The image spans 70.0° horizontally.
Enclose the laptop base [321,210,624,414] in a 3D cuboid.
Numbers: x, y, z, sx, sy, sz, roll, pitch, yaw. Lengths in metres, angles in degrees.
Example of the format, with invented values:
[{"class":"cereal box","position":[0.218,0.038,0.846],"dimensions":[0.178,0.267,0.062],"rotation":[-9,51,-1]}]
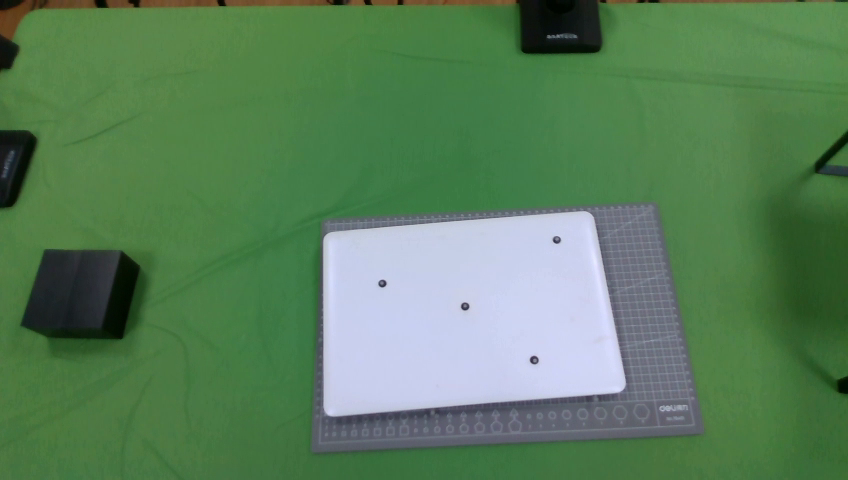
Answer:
[{"class":"laptop base","position":[0.051,0.083,0.752],"dimensions":[0.354,0.023,0.234],"rotation":[-5,70,0]}]

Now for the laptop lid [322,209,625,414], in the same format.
[{"class":"laptop lid","position":[0.051,0.081,0.740],"dimensions":[0.357,0.013,0.240],"rotation":[-3,69,1]}]
